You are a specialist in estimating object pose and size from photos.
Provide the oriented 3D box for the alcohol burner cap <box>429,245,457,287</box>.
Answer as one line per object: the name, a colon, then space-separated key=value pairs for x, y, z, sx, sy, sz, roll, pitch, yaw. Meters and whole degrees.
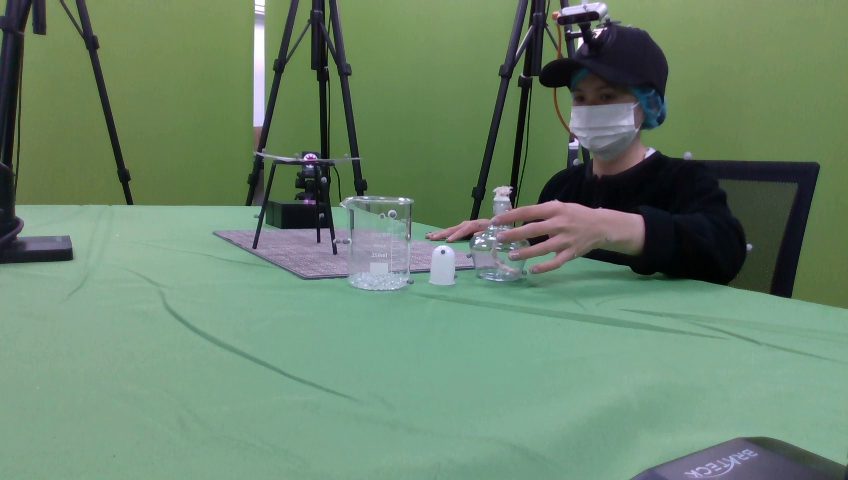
alcohol burner cap: x=0.024 y=0.030 z=0.705 sx=0.034 sy=0.048 sz=0.034 roll=2 pitch=7 yaw=0

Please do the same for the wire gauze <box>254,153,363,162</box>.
wire gauze: x=-0.172 y=-0.119 z=0.891 sx=0.122 sy=0.011 sz=0.124 roll=-2 pitch=7 yaw=-38

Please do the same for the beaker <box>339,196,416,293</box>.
beaker: x=-0.052 y=0.004 z=0.661 sx=0.084 sy=0.100 sz=0.073 roll=-1 pitch=7 yaw=-18

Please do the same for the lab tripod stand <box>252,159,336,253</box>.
lab tripod stand: x=-0.180 y=-0.053 z=0.900 sx=0.148 sy=0.131 sz=0.148 roll=1 pitch=6 yaw=0

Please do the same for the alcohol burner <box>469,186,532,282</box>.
alcohol burner: x=0.096 y=-0.008 z=0.752 sx=0.078 sy=0.119 sz=0.078 roll=3 pitch=5 yaw=0
